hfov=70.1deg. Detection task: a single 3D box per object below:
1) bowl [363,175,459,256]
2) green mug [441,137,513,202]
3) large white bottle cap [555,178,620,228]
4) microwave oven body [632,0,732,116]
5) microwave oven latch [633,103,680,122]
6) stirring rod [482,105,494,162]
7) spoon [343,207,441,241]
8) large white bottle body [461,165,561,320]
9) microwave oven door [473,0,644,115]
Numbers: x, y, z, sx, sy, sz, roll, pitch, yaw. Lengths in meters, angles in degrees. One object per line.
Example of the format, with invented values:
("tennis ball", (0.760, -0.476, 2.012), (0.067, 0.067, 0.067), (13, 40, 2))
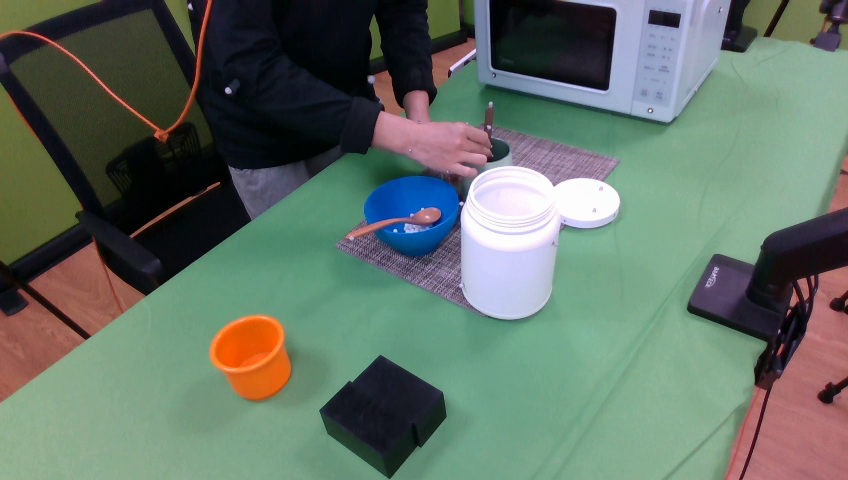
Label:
("bowl", (-0.017, -0.028, 0.955), (0.151, 0.077, 0.150), (-4, 40, 4))
("green mug", (0.090, -0.107, 1.012), (0.125, 0.105, 0.092), (2, 42, 11))
("large white bottle cap", (0.265, -0.063, 1.001), (0.115, 0.018, 0.114), (-3, 42, 3))
("microwave oven body", (0.377, -0.463, 1.267), (0.438, 0.261, 0.327), (21, 49, 30))
("microwave oven latch", (0.443, -0.249, 1.157), (0.078, 0.029, 0.030), (20, 48, 29))
("stirring rod", (0.101, -0.137, 0.977), (0.014, 0.177, 0.005), (-21, 44, -23))
("spoon", (-0.046, -0.026, 0.911), (0.041, 0.021, 0.195), (26, 27, 38))
("large white bottle body", (0.115, 0.004, 0.816), (0.130, 0.185, 0.130), (-2, 43, 2))
("microwave oven door", (0.257, -0.396, 1.199), (0.353, 0.245, 0.039), (21, 48, 29))
